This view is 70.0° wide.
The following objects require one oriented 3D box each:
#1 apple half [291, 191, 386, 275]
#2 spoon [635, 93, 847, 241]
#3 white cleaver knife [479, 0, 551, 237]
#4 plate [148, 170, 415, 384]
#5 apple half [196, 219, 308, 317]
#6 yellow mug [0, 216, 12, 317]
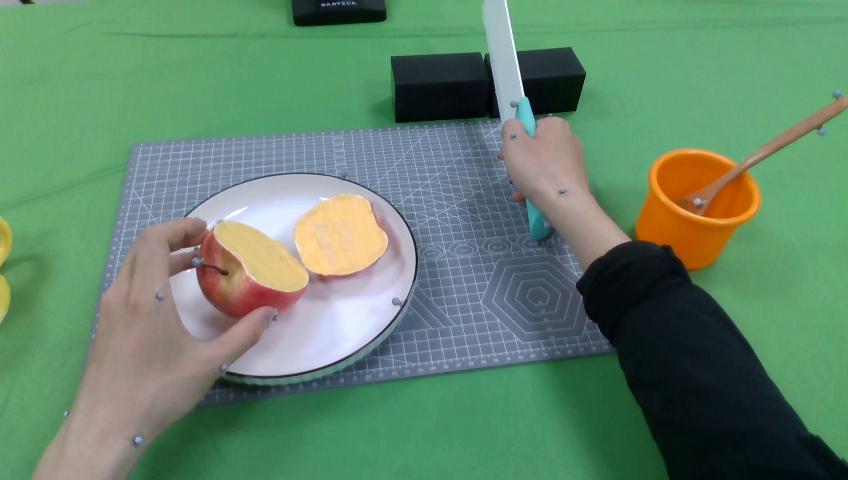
[{"bbox_3d":[-0.072,0.000,0.513,0.081,0.033,0.080,-1,63,2],"label":"apple half"},{"bbox_3d":[0.268,-0.060,0.520,0.022,0.194,0.041,28,33,-40],"label":"spoon"},{"bbox_3d":[0.085,-0.136,0.593,0.021,0.066,0.284,-2,69,-12],"label":"white cleaver knife"},{"bbox_3d":[-0.111,0.027,0.495,0.209,0.038,0.207,2,50,-2],"label":"plate"},{"bbox_3d":[-0.135,0.028,0.462,0.080,0.053,0.075,40,16,12],"label":"apple half"},{"bbox_3d":[-0.378,0.027,0.465,0.099,0.064,0.130,22,51,14],"label":"yellow mug"}]
